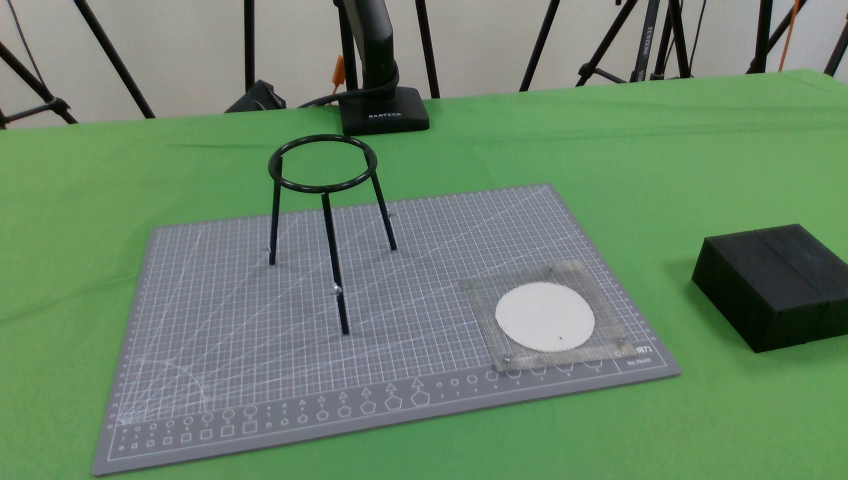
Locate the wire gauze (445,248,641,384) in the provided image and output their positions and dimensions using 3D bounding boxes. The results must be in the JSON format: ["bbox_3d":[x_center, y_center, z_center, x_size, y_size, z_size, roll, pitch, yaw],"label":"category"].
[{"bbox_3d":[0.101,0.057,0.524,0.122,0.011,0.123,-18,48,-25],"label":"wire gauze"}]

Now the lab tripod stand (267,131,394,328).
[{"bbox_3d":[-0.082,-0.016,0.539,0.148,0.132,0.147,2,39,-1],"label":"lab tripod stand"}]
